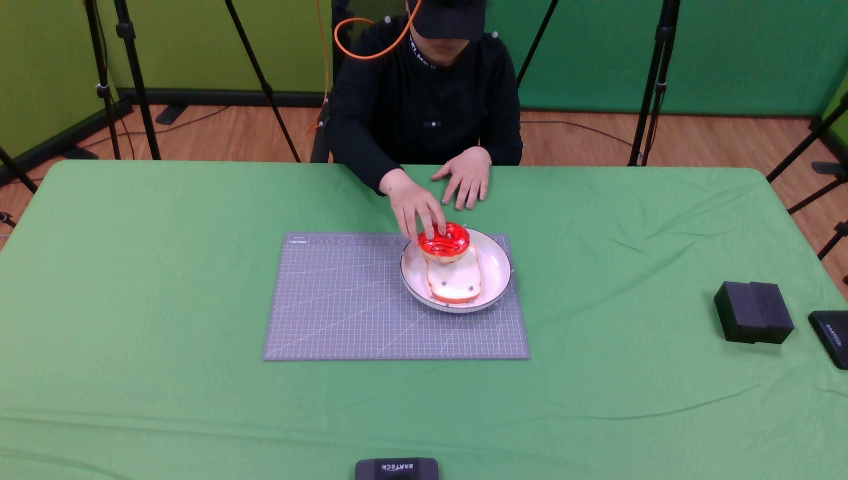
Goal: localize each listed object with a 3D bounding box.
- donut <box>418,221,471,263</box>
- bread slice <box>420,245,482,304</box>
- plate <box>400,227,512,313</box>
[{"bbox_3d":[0.038,0.001,1.113,0.099,0.048,0.098,0,39,0],"label":"donut"},{"bbox_3d":[0.056,0.062,1.131,0.107,0.018,0.133,-6,47,-8],"label":"bread slice"},{"bbox_3d":[0.057,0.057,1.134,0.209,0.038,0.208,2,46,-2],"label":"plate"}]
